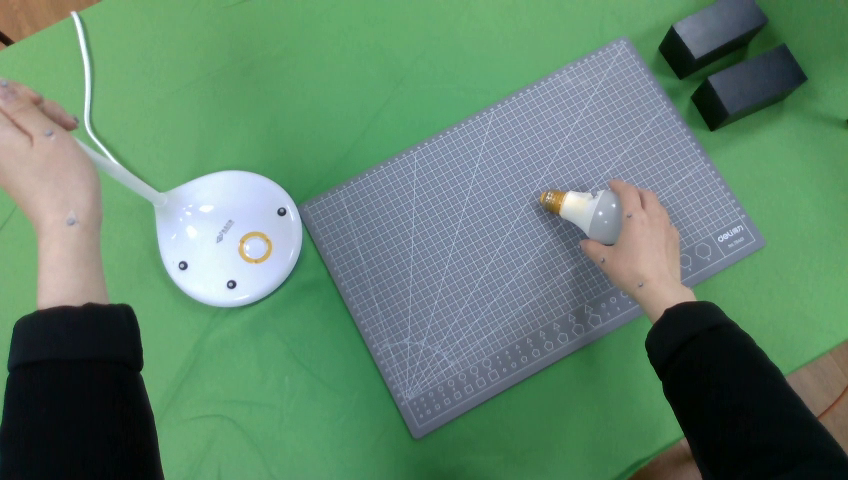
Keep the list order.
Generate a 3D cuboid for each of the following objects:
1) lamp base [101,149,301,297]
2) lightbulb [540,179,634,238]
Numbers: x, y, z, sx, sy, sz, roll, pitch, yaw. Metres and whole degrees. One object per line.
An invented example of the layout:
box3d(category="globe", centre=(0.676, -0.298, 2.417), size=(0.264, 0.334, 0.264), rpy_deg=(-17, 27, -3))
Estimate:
box3d(category="lamp base", centre=(-0.237, -0.033, 0.624), size=(0.179, 0.181, 0.160), rpy_deg=(18, 79, 9))
box3d(category="lightbulb", centre=(0.180, -0.041, 0.674), size=(0.107, 0.060, 0.059), rpy_deg=(25, 80, 23))
